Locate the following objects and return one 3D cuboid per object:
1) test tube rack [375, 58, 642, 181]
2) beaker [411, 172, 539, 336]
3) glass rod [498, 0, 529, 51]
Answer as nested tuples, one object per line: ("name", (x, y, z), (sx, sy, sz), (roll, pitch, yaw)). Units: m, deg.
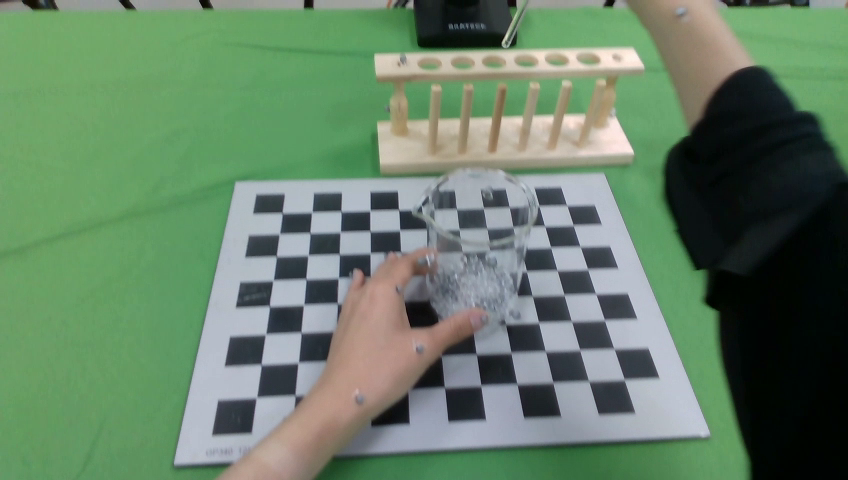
("test tube rack", (0.077, -0.113, 0.568), (0.243, 0.086, 0.066), (-3, 46, -5))
("beaker", (0.033, 0.014, 0.429), (0.084, 0.101, 0.073), (-1, 46, -2))
("glass rod", (0.091, -0.209, 0.415), (0.008, 0.200, 0.008), (10, 55, -14))
